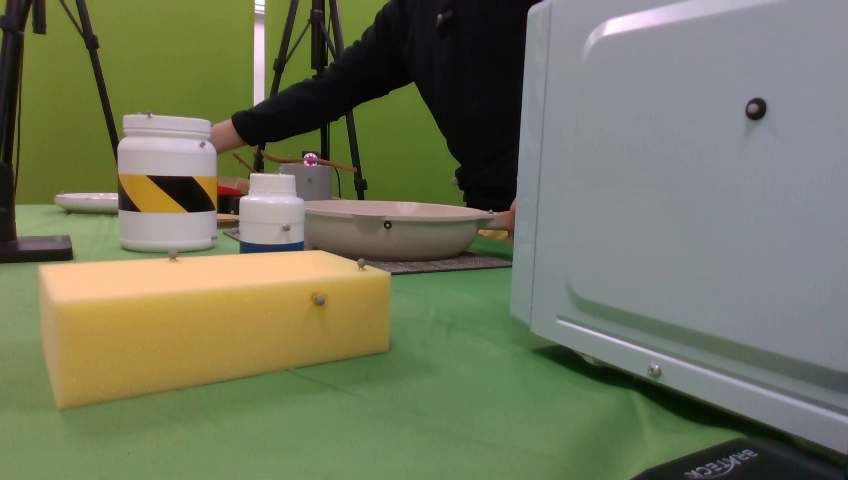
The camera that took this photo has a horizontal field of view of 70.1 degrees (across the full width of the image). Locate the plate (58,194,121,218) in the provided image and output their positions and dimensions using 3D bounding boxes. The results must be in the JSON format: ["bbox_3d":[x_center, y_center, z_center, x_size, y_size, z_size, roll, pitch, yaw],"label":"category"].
[{"bbox_3d":[-0.671,-0.074,1.310,0.209,0.038,0.209,2,8,0],"label":"plate"}]

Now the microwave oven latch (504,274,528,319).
[{"bbox_3d":[0.100,0.041,0.471,0.079,0.029,0.030,-1,7,-28],"label":"microwave oven latch"}]

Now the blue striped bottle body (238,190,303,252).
[{"bbox_3d":[-0.153,-0.007,0.606,0.063,0.120,0.063,2,7,0],"label":"blue striped bottle body"}]

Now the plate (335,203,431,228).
[{"bbox_3d":[-0.089,-0.054,1.309,0.208,0.039,0.207,2,8,0],"label":"plate"}]

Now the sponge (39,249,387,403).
[{"bbox_3d":[-0.142,0.047,0.420,0.208,0.061,0.117,-3,8,-36],"label":"sponge"}]

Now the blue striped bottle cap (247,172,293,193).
[{"bbox_3d":[-0.152,-0.057,0.598,0.044,0.020,0.044,3,6,0],"label":"blue striped bottle cap"}]

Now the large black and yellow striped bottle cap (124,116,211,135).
[{"bbox_3d":[-0.366,-0.163,0.866,0.115,0.019,0.115,3,7,0],"label":"large black and yellow striped bottle cap"}]

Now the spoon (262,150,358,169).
[{"bbox_3d":[-0.229,-0.162,1.221,0.194,0.021,0.041,4,6,-16],"label":"spoon"}]

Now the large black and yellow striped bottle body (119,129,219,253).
[{"bbox_3d":[-0.367,-0.080,0.876,0.131,0.184,0.130,2,7,0],"label":"large black and yellow striped bottle body"}]

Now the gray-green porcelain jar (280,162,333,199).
[{"bbox_3d":[-0.237,-0.092,1.221,0.106,0.126,0.106,2,7,0],"label":"gray-green porcelain jar"}]

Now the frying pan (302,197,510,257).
[{"bbox_3d":[0.051,-0.035,0.915,0.487,0.102,0.307,-5,7,11],"label":"frying pan"}]

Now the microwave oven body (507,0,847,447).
[{"bbox_3d":[0.331,-0.042,0.425,0.444,0.260,0.324,-2,8,-31],"label":"microwave oven body"}]

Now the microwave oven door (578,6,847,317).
[{"bbox_3d":[0.294,-0.067,0.570,0.358,0.243,0.039,-3,9,-31],"label":"microwave oven door"}]

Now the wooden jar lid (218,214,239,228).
[{"bbox_3d":[-0.404,-0.037,1.169,0.108,0.020,0.108,3,7,0],"label":"wooden jar lid"}]

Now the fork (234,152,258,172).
[{"bbox_3d":[-0.396,-0.143,1.486,0.028,0.018,0.208,20,-26,45],"label":"fork"}]

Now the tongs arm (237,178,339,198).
[{"bbox_3d":[-0.242,-0.096,1.374,0.387,0.026,0.050,9,3,-37],"label":"tongs arm"}]

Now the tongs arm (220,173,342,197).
[{"bbox_3d":[-0.285,-0.109,1.445,0.389,0.027,0.028,10,-1,-23],"label":"tongs arm"}]
